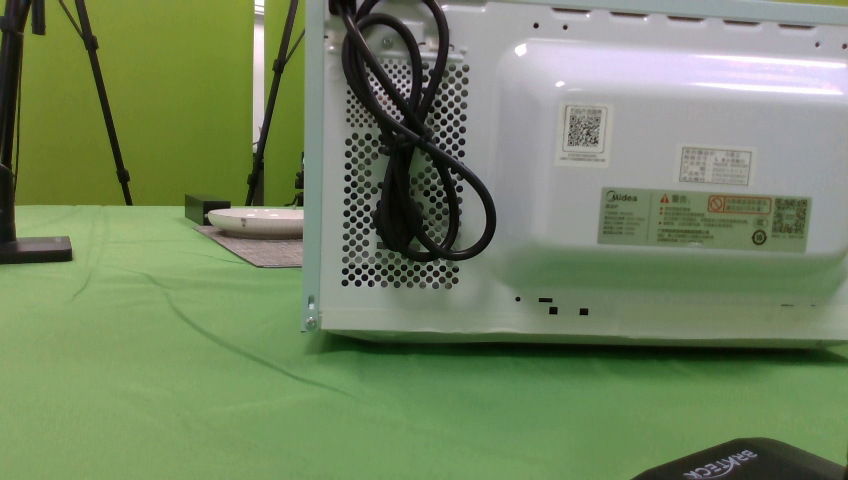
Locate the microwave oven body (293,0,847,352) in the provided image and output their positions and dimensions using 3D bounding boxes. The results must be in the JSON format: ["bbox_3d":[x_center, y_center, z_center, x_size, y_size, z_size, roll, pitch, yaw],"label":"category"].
[{"bbox_3d":[0.122,-0.055,0.550,0.442,0.260,0.325,3,7,-5],"label":"microwave oven body"}]

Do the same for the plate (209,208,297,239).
[{"bbox_3d":[-0.271,-0.029,1.074,0.208,0.039,0.207,3,7,0],"label":"plate"}]

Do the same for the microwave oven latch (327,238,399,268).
[{"bbox_3d":[-0.069,0.015,0.694,0.079,0.029,0.030,3,7,-3],"label":"microwave oven latch"}]

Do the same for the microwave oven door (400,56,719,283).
[{"bbox_3d":[0.155,-0.077,0.698,0.356,0.243,0.039,2,8,-5],"label":"microwave oven door"}]
